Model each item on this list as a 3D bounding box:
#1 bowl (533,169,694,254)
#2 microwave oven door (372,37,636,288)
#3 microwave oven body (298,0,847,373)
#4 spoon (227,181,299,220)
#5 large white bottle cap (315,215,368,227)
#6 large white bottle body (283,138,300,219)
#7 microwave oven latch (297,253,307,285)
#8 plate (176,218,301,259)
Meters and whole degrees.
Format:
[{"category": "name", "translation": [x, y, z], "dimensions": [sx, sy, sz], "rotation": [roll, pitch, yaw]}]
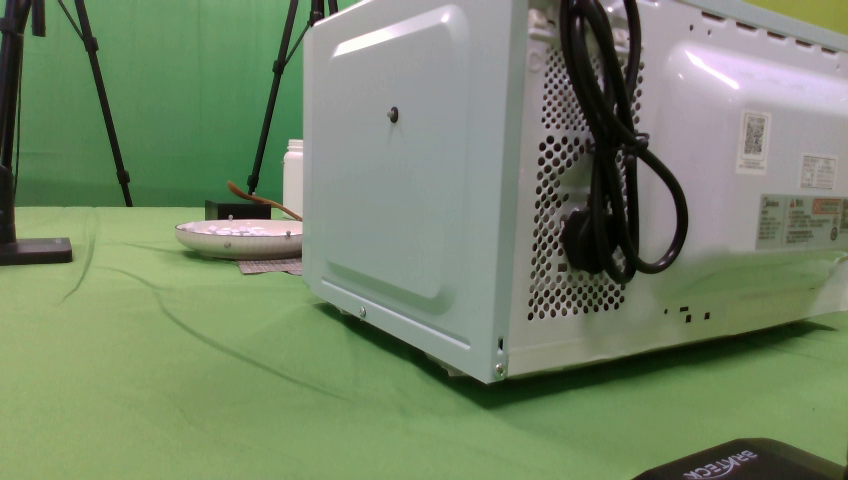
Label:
[{"category": "bowl", "translation": [0.181, -0.030, 0.595], "dimensions": [0.151, 0.077, 0.151], "rotation": [1, 7, 0]}, {"category": "microwave oven door", "translation": [0.109, -0.080, 0.686], "dimensions": [0.358, 0.243, 0.039], "rotation": [-2, 9, -33]}, {"category": "microwave oven body", "translation": [0.151, -0.055, 0.542], "dimensions": [0.444, 0.260, 0.324], "rotation": [-1, 7, -33]}, {"category": "spoon", "translation": [-0.315, -0.074, 1.234], "dimensions": [0.195, 0.021, 0.041], "rotation": [24, -9, -37]}, {"category": "large white bottle cap", "translation": [-0.178, -0.041, 1.308], "dimensions": [0.115, 0.018, 0.115], "rotation": [2, 6, 0]}, {"category": "large white bottle body", "translation": [-0.265, -0.143, 1.424], "dimensions": [0.131, 0.184, 0.130], "rotation": [2, 7, 0]}, {"category": "microwave oven latch", "translation": [-0.082, 0.027, 0.582], "dimensions": [0.079, 0.029, 0.030], "rotation": [-1, 7, -33]}, {"category": "plate", "translation": [-0.248, -0.003, 0.877], "dimensions": [0.209, 0.038, 0.209], "rotation": [1, 8, 0]}]
